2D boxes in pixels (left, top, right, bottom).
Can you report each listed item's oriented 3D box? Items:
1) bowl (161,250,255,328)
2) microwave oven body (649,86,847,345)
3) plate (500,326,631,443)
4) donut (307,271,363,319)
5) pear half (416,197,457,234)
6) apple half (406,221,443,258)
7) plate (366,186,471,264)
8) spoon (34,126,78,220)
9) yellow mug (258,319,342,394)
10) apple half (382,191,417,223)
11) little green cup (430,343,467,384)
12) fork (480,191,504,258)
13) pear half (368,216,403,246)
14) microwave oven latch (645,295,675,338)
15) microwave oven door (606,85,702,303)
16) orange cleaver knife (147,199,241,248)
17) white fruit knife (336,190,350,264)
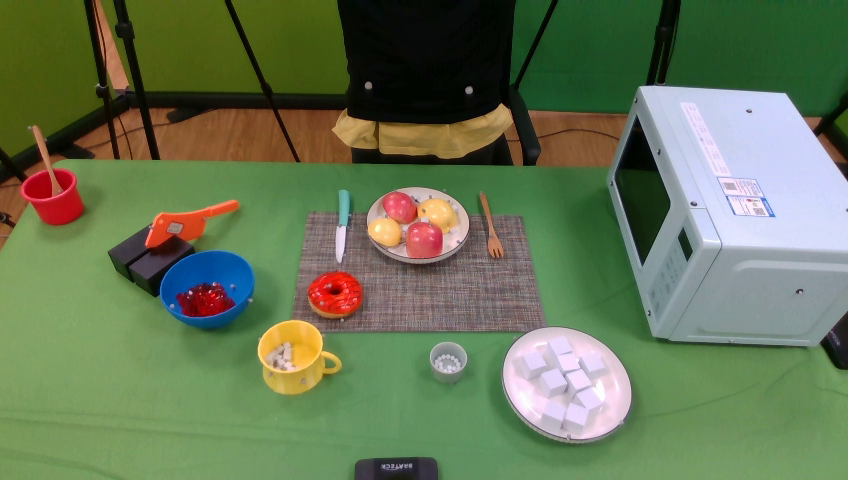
[{"bbox_3d":[-0.362,0.097,1.040,0.151,0.077,0.150,2,45,-2],"label":"bowl"},{"bbox_3d":[0.567,-0.053,1.118,0.326,0.261,0.439,2,45,-1],"label":"microwave oven body"},{"bbox_3d":[0.224,0.233,0.978,0.208,0.039,0.206,2,46,-2],"label":"plate"},{"bbox_3d":[-0.157,0.097,1.072,0.099,0.048,0.098,4,45,-4],"label":"donut"},{"bbox_3d":[0.017,-0.065,1.226,0.076,0.056,0.109,-27,51,-32],"label":"pear half"},{"bbox_3d":[0.001,-0.006,1.164,0.075,0.053,0.080,5,42,-1],"label":"apple half"},{"bbox_3d":[-0.013,-0.027,1.207,0.209,0.038,0.208,2,46,-2],"label":"plate"},{"bbox_3d":[-0.726,-0.132,1.188,0.041,0.021,0.194,-18,95,-18],"label":"spoon"},{"bbox_3d":[-0.196,0.189,0.972,0.131,0.064,0.099,9,46,4],"label":"yellow mug"},{"bbox_3d":[-0.043,-0.072,1.225,0.081,0.033,0.081,18,42,-17],"label":"apple half"},{"bbox_3d":[0.039,0.203,0.993,0.061,0.039,0.061,2,46,-2],"label":"little green cup"},{"bbox_3d":[0.136,-0.035,1.241,0.028,0.019,0.206,-9,46,1],"label":"fork"},{"bbox_3d":[-0.070,-0.026,1.183,0.070,0.031,0.087,33,46,0],"label":"pear half"},{"bbox_3d":[0.411,0.134,1.061,0.030,0.029,0.078,3,45,0],"label":"microwave oven latch"},{"bbox_3d":[0.423,-0.094,1.140,0.039,0.245,0.353,2,46,-1],"label":"microwave oven door"},{"bbox_3d":[-0.435,-0.033,1.157,0.012,0.077,0.211,31,27,19],"label":"orange cleaver knife"},{"bbox_3d":[-0.164,-0.030,1.217,0.027,0.016,0.206,-22,45,18],"label":"white fruit knife"}]
